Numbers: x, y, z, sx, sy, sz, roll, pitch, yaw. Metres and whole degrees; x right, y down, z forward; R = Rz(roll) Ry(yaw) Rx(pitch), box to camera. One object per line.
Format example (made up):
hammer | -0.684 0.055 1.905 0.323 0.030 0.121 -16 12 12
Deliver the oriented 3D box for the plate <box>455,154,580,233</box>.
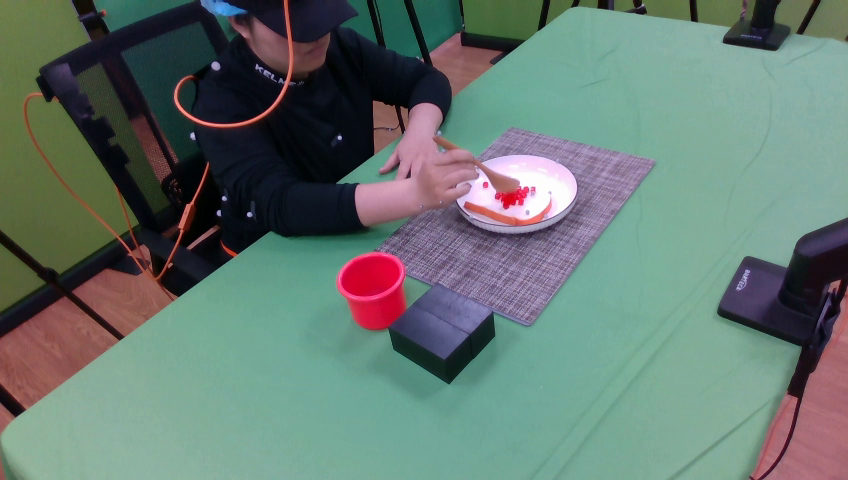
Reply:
plate | 0.159 -0.076 1.028 0.209 0.038 0.208 -5 40 5

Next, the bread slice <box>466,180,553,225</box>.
bread slice | 0.152 -0.068 1.022 0.130 0.019 0.105 23 50 33

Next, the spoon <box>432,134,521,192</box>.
spoon | 0.083 -0.119 0.945 0.041 0.195 0.021 -31 44 38
